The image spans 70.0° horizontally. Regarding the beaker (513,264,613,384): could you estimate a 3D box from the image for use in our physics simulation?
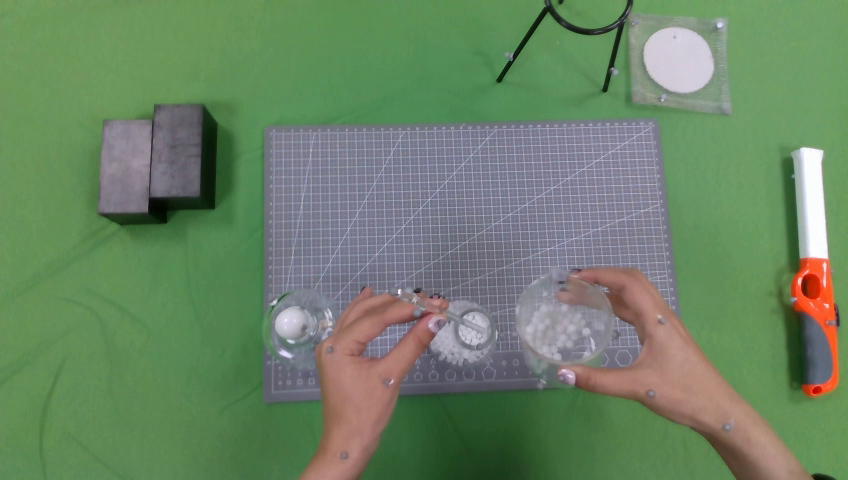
[{"bbox_3d":[0.114,0.075,0.508,0.074,0.101,0.083,-9,63,8],"label":"beaker"}]

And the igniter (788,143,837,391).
[{"bbox_3d":[0.430,0.027,0.674,0.057,0.025,0.275,5,80,-13],"label":"igniter"}]

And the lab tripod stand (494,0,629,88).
[{"bbox_3d":[0.151,-0.230,0.651,0.148,0.132,0.148,0,82,-2],"label":"lab tripod stand"}]

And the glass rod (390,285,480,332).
[{"bbox_3d":[0.015,0.057,0.476,0.008,0.201,0.008,-6,73,19],"label":"glass rod"}]

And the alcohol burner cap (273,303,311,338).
[{"bbox_3d":[-0.121,0.073,0.551,0.034,0.048,0.034,1,83,-6],"label":"alcohol burner cap"}]

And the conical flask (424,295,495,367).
[{"bbox_3d":[0.040,0.086,0.591,0.075,0.122,0.075,1,79,-3],"label":"conical flask"}]

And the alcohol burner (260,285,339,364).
[{"bbox_3d":[-0.123,0.080,0.587,0.078,0.119,0.077,0,79,-1],"label":"alcohol burner"}]

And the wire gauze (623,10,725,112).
[{"bbox_3d":[0.299,-0.215,0.720,0.125,0.011,0.121,4,80,-4],"label":"wire gauze"}]
